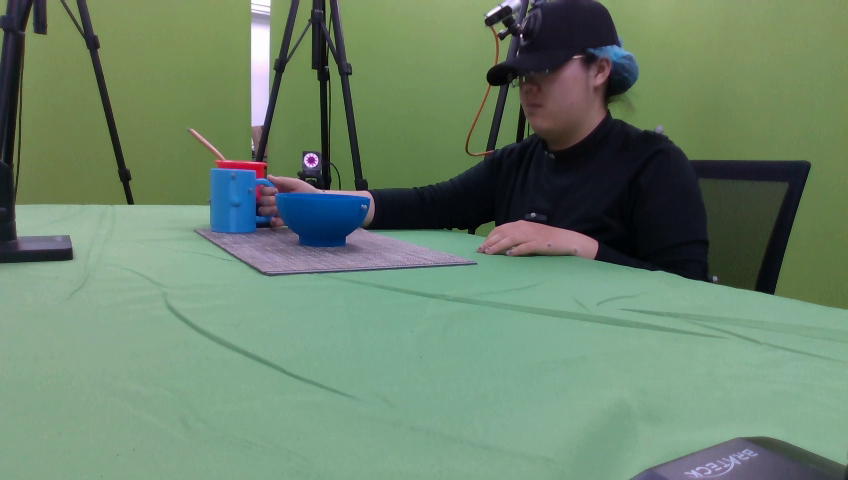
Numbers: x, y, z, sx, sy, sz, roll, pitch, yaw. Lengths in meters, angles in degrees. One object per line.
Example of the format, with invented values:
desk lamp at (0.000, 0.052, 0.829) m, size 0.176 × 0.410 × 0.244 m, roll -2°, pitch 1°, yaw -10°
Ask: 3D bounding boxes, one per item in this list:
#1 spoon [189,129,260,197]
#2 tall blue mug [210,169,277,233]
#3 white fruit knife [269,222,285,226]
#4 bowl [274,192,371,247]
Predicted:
spoon at (-0.388, -0.150, 1.174) m, size 0.193 × 0.021 × 0.042 m, roll 48°, pitch 19°, yaw 7°
tall blue mug at (-0.325, -0.071, 1.078) m, size 0.077 × 0.108 × 0.108 m, roll 8°, pitch 9°, yaw 39°
white fruit knife at (-0.221, -0.037, 1.261) m, size 0.208 × 0.016 × 0.027 m, roll -4°, pitch -18°, yaw -31°
bowl at (-0.161, -0.032, 0.959) m, size 0.151 × 0.077 × 0.151 m, roll 3°, pitch 7°, yaw 0°
